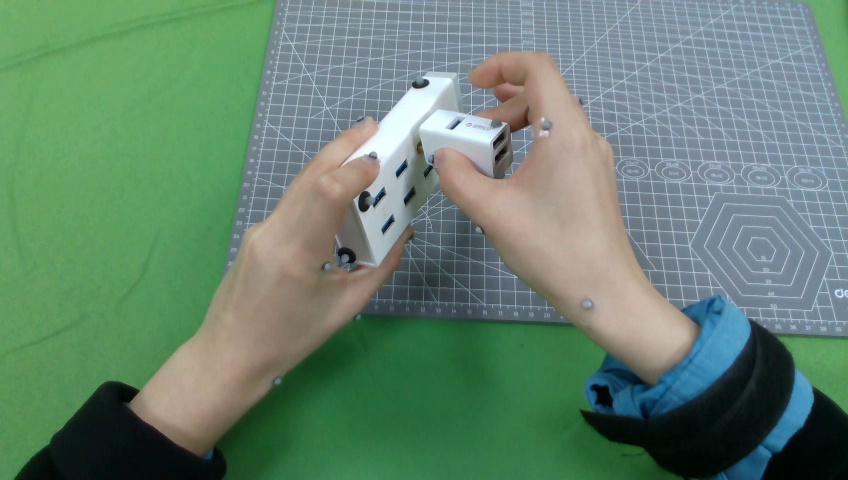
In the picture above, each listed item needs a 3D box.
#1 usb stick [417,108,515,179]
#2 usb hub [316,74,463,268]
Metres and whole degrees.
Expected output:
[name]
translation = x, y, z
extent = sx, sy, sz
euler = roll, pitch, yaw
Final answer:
[usb stick]
translation = 0.017, -0.053, 0.321
extent = 0.058, 0.027, 0.021
euler = 16, 60, 33
[usb hub]
translation = -0.012, -0.044, 0.344
extent = 0.025, 0.050, 0.124
euler = 10, 46, 27
